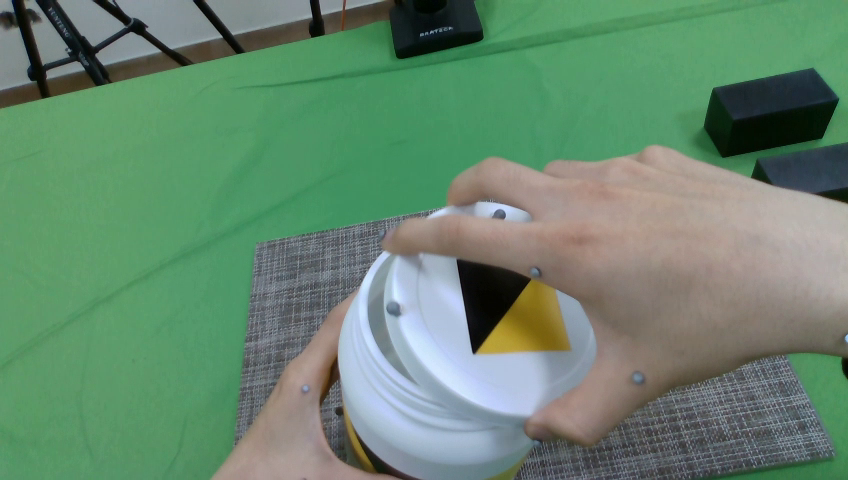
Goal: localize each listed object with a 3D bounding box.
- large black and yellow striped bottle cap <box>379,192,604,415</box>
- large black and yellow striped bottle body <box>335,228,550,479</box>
[{"bbox_3d":[0.035,0.027,0.300,0.115,0.019,0.114,9,59,-15],"label":"large black and yellow striped bottle cap"},{"bbox_3d":[0.010,0.083,0.380,0.131,0.185,0.129,3,53,-4],"label":"large black and yellow striped bottle body"}]
